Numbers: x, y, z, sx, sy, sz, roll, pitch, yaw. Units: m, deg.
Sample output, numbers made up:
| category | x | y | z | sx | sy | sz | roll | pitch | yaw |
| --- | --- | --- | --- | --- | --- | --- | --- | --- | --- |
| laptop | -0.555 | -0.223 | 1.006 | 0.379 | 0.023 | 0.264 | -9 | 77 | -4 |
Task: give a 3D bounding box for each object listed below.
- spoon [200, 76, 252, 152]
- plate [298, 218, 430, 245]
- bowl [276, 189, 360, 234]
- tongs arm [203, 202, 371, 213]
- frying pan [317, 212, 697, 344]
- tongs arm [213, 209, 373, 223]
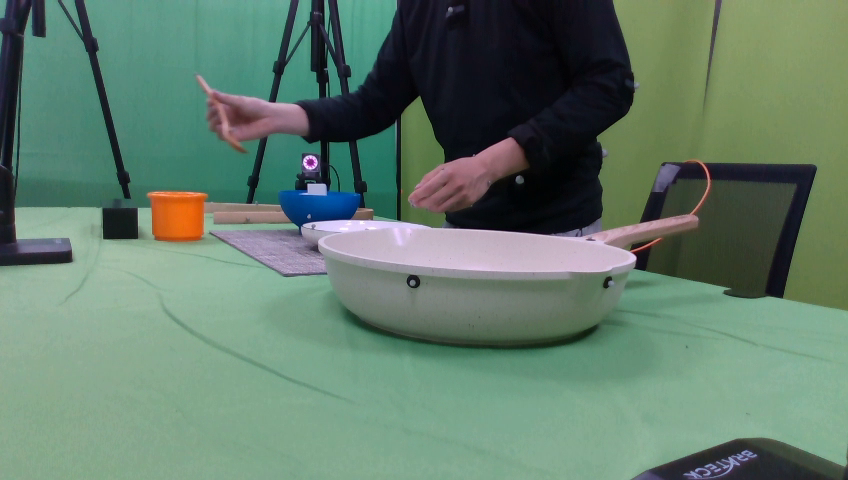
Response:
| category | x | y | z | sx | sy | sz | roll | pitch | yaw |
| --- | --- | --- | --- | --- | --- | --- | --- | --- | --- |
| spoon | -0.351 | -0.223 | 1.067 | 0.021 | 0.193 | 0.042 | -33 | -22 | 3 |
| plate | -0.091 | -0.006 | 0.949 | 0.208 | 0.039 | 0.207 | 2 | 7 | 0 |
| bowl | -0.195 | -0.051 | 1.114 | 0.151 | 0.077 | 0.151 | 2 | 7 | 0 |
| tongs arm | -0.312 | -0.069 | 1.418 | 0.387 | 0.026 | 0.050 | 1 | 8 | -24 |
| frying pan | 0.133 | 0.013 | 0.629 | 0.490 | 0.102 | 0.305 | -12 | 14 | -31 |
| tongs arm | -0.274 | -0.054 | 1.348 | 0.390 | 0.028 | 0.028 | -3 | 6 | -37 |
